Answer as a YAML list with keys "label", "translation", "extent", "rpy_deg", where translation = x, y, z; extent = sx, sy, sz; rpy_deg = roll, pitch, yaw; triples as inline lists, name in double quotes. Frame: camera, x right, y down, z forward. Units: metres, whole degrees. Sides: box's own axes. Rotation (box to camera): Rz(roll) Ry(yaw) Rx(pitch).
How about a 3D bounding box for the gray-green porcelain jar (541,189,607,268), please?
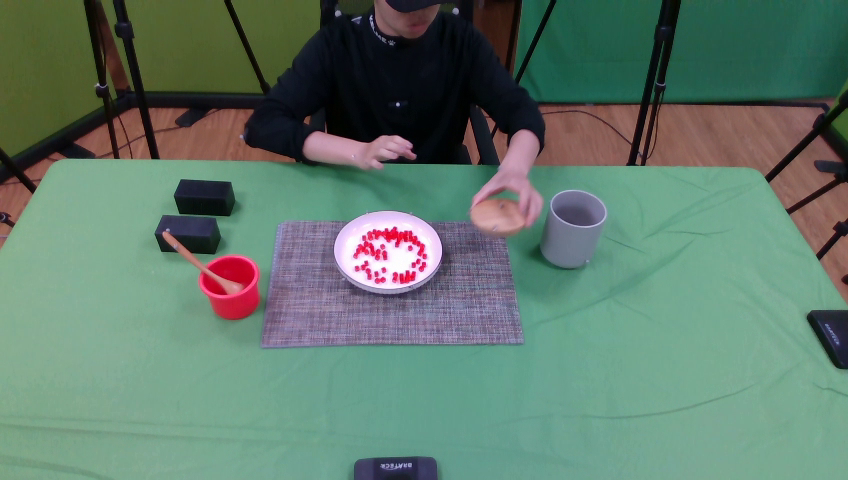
- label: "gray-green porcelain jar"
  translation: [0.283, -0.017, 1.161]
  extent: [0.106, 0.127, 0.105]
  rpy_deg: [2, 46, -2]

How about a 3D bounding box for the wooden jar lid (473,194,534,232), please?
- label: "wooden jar lid"
  translation: [0.144, -0.048, 1.100]
  extent: [0.108, 0.021, 0.108]
  rpy_deg: [-4, 36, 3]

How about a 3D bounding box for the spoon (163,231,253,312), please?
- label: "spoon"
  translation: [-0.364, 0.054, 1.024]
  extent: [0.194, 0.021, 0.041]
  rpy_deg: [43, 49, -17]

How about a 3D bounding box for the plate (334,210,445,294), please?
- label: "plate"
  translation: [-0.066, 0.026, 1.150]
  extent: [0.208, 0.039, 0.206]
  rpy_deg: [2, 46, -2]
